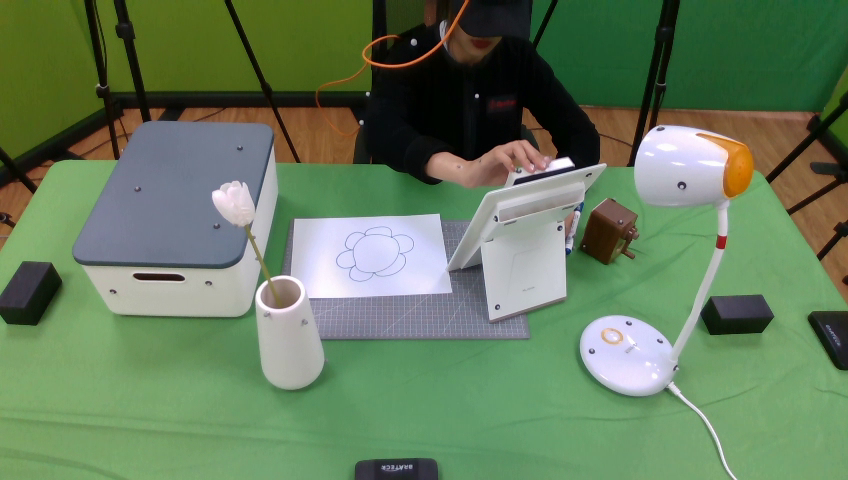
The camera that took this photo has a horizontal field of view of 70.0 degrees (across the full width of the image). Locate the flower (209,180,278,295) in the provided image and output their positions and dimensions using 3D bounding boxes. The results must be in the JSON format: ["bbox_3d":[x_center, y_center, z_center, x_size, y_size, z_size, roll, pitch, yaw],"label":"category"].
[{"bbox_3d":[-0.216,0.075,0.871,0.044,0.363,0.038,-29,36,-19],"label":"flower"}]

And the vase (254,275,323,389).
[{"bbox_3d":[-0.209,0.143,0.921,0.098,0.201,0.097,1,46,-1],"label":"vase"}]

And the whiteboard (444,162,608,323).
[{"bbox_3d":[0.186,0.025,1.029,0.217,0.306,0.143,-14,68,-17],"label":"whiteboard"}]

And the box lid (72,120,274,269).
[{"bbox_3d":[-0.417,-0.094,1.056,0.263,0.015,0.369,1,47,-3],"label":"box lid"}]

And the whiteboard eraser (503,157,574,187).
[{"bbox_3d":[0.186,-0.097,0.977,0.113,0.056,0.041,-13,61,-18],"label":"whiteboard eraser"}]

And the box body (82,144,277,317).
[{"bbox_3d":[-0.422,-0.041,1.108,0.254,0.161,0.361,2,46,-3],"label":"box body"}]

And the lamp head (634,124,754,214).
[{"bbox_3d":[0.351,-0.089,0.776,0.112,0.113,0.122,-30,30,-28],"label":"lamp head"}]

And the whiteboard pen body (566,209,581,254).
[{"bbox_3d":[0.307,-0.026,1.242,0.017,0.017,0.140,16,51,11],"label":"whiteboard pen body"}]

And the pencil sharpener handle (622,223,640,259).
[{"bbox_3d":[0.397,0.003,1.146,0.030,0.068,0.036,37,46,27],"label":"pencil sharpener handle"}]

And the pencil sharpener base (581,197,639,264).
[{"bbox_3d":[0.362,-0.017,1.179,0.076,0.107,0.061,37,54,27],"label":"pencil sharpener base"}]

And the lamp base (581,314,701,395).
[{"bbox_3d":[0.361,0.145,0.973,0.178,0.181,0.160,34,53,23],"label":"lamp base"}]

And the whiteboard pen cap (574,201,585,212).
[{"bbox_3d":[0.327,-0.069,1.278,0.018,0.018,0.033,18,52,13],"label":"whiteboard pen cap"}]
